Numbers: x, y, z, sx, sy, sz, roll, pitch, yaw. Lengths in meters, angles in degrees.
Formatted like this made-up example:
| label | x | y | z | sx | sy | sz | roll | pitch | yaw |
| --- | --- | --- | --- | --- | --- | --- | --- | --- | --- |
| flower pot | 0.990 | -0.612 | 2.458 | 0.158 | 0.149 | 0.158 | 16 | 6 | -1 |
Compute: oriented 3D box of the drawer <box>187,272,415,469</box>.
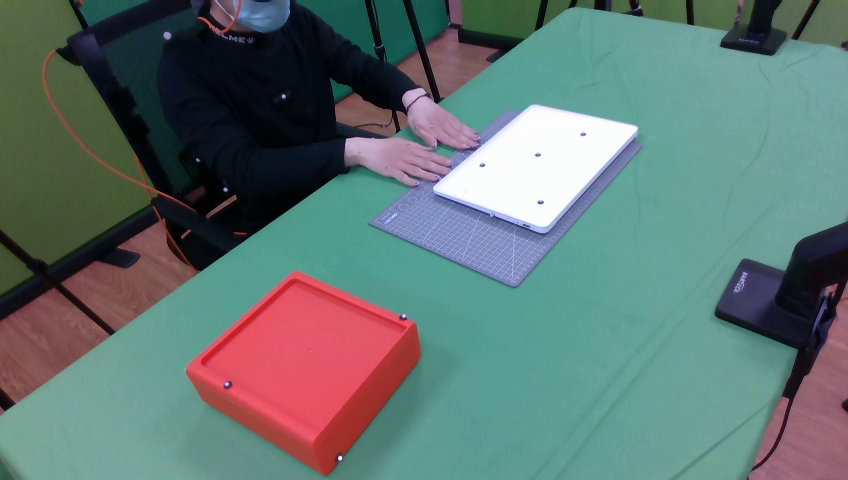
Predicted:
| label | x | y | z | sx | sy | sz | roll | pitch | yaw |
| --- | --- | --- | --- | --- | --- | --- | --- | --- | --- |
| drawer | -0.150 | 0.154 | 0.768 | 0.210 | 0.073 | 0.195 | 20 | 46 | 27 |

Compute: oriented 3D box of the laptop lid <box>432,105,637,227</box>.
| label | x | y | z | sx | sy | sz | roll | pitch | yaw |
| --- | --- | --- | --- | --- | --- | --- | --- | --- | --- |
| laptop lid | 0.207 | -0.152 | 1.105 | 0.239 | 0.013 | 0.358 | 23 | 49 | 34 |

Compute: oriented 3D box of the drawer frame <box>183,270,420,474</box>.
| label | x | y | z | sx | sy | sz | roll | pitch | yaw |
| --- | --- | --- | --- | --- | --- | --- | --- | --- | --- |
| drawer frame | -0.148 | 0.153 | 0.767 | 0.212 | 0.083 | 0.202 | 19 | 46 | 27 |

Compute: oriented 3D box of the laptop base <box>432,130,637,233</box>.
| label | x | y | z | sx | sy | sz | roll | pitch | yaw |
| --- | --- | --- | --- | --- | --- | --- | --- | --- | --- |
| laptop base | 0.210 | -0.142 | 1.111 | 0.233 | 0.023 | 0.355 | 21 | 47 | 33 |

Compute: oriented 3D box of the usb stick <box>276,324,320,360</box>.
| label | x | y | z | sx | sy | sz | roll | pitch | yaw |
| --- | --- | --- | --- | --- | --- | --- | --- | --- | --- |
| usb stick | -0.172 | 0.140 | 0.816 | 0.059 | 0.027 | 0.021 | -28 | 41 | -21 |
